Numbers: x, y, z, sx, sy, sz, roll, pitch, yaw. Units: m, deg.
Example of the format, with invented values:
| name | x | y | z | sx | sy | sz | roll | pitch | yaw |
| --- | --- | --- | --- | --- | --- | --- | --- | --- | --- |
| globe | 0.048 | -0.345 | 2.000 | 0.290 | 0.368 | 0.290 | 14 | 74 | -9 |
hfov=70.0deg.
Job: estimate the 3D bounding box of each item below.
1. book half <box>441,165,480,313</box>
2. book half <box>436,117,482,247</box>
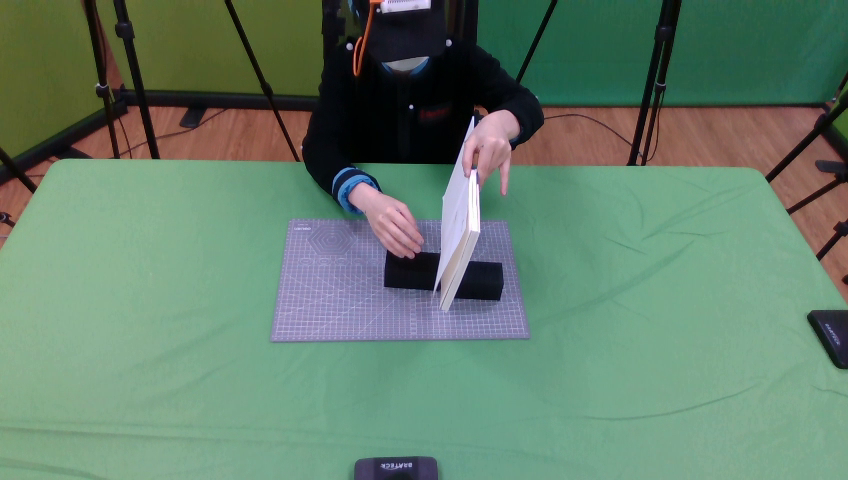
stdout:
| name | x | y | z | sx | sy | sz | roll | pitch | yaw |
| --- | --- | --- | --- | --- | --- | --- | --- | --- | --- |
| book half | 0.057 | 0.003 | 1.004 | 0.016 | 0.211 | 0.147 | 10 | 47 | -8 |
| book half | 0.061 | -0.101 | 1.101 | 0.007 | 0.211 | 0.142 | 17 | 45 | -8 |
